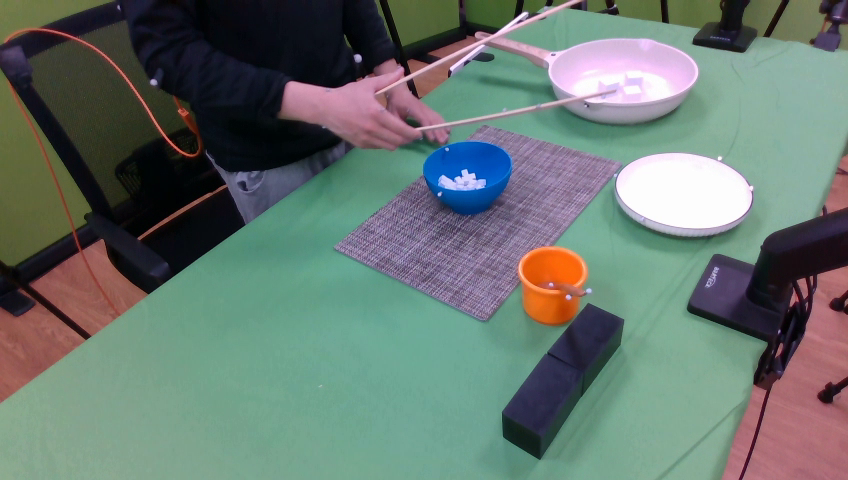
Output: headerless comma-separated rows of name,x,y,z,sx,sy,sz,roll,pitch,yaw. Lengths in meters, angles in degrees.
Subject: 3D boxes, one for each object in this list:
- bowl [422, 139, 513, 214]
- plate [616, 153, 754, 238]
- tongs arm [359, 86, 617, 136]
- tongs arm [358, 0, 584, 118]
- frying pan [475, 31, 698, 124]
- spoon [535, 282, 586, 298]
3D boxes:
bowl,0.075,-0.097,1.021,0.151,0.077,0.150,-4,41,4
plate,0.416,-0.069,0.977,0.207,0.039,0.206,-4,40,4
tongs arm,0.093,-0.205,0.915,0.384,0.051,0.026,-13,9,5
tongs arm,0.071,-0.277,0.906,0.387,0.028,0.027,-24,11,6
frying pan,0.320,-0.371,1.290,0.485,0.103,0.307,28,50,23
spoon,0.176,0.063,0.774,0.041,0.194,0.021,-4,85,1
